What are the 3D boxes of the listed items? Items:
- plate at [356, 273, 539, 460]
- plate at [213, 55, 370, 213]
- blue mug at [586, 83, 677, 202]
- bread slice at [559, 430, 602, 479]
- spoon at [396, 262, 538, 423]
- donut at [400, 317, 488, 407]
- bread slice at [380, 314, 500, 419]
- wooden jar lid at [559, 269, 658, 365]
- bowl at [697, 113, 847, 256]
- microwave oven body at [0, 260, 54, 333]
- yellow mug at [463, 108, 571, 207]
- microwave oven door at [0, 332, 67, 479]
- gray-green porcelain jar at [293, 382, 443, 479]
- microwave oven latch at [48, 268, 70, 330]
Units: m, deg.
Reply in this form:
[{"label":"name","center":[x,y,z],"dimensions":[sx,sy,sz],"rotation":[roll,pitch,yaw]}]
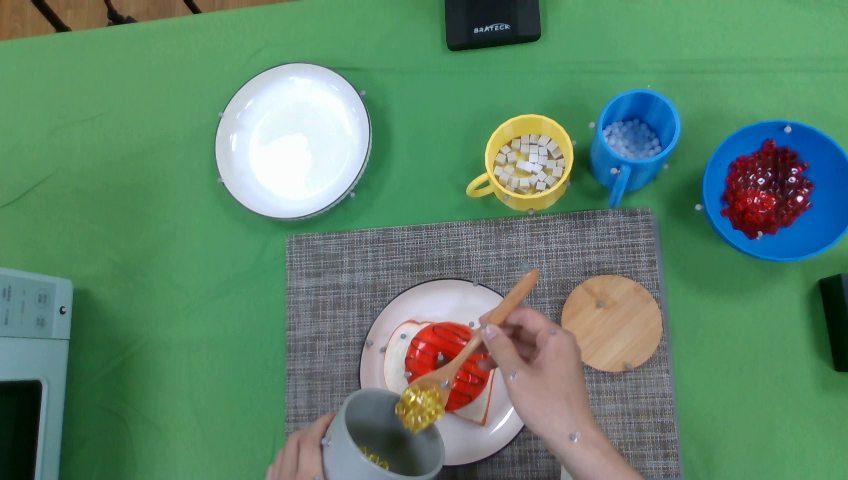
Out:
[{"label":"plate","center":[0.027,0.142,0.697],"dimensions":[0.209,0.038,0.208],"rotation":[-2,80,9]},{"label":"plate","center":[-0.168,-0.134,0.780],"dimensions":[0.207,0.039,0.207],"rotation":[-2,80,9]},{"label":"blue mug","center":[0.222,-0.099,0.674],"dimensions":[0.082,0.106,0.116],"rotation":[17,84,12]},{"label":"bread slice","center":[0.155,0.253,0.611],"dimensions":[0.018,0.135,0.106],"rotation":[4,79,3]},{"label":"spoon","center":[0.039,0.094,0.547],"dimensions":[0.041,0.022,0.194],"rotation":[43,110,12]},{"label":"donut","center":[0.022,0.134,0.670],"dimensions":[0.099,0.048,0.098],"rotation":[-1,81,7]},{"label":"bread slice","center":[0.014,0.141,0.700],"dimensions":[0.131,0.019,0.104],"rotation":[10,81,10]},{"label":"wooden jar lid","center":[0.207,0.087,0.685],"dimensions":[0.108,0.021,0.108],"rotation":[-2,81,10]},{"label":"bowl","center":[0.367,-0.052,0.655],"dimensions":[0.151,0.077,0.151],"rotation":[-2,80,10]},{"label":"microwave oven body","center":[-0.636,0.241,0.677],"dimensions":[0.325,0.261,0.440],"rotation":[-3,80,9]},{"label":"yellow mug","center":[0.106,-0.088,0.712],"dimensions":[0.131,0.064,0.099],"rotation":[-25,76,6]},{"label":"microwave oven door","center":[-0.492,0.274,0.641],"dimensions":[0.039,0.245,0.354],"rotation":[-3,80,9]},{"label":"gray-green porcelain jar","center":[-0.058,0.215,0.567],"dimensions":[0.105,0.106,0.127],"rotation":[37,112,14]},{"label":"microwave oven latch","center":[-0.477,0.076,0.777],"dimensions":[0.030,0.029,0.079],"rotation":[0,81,9]}]
